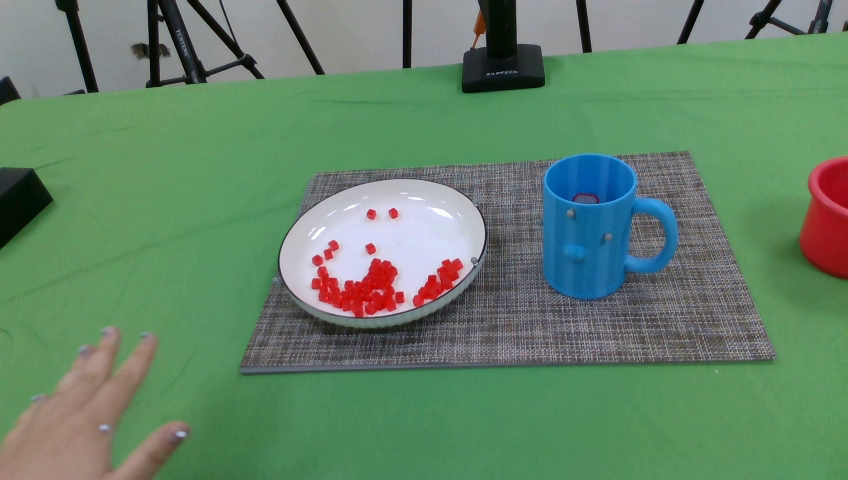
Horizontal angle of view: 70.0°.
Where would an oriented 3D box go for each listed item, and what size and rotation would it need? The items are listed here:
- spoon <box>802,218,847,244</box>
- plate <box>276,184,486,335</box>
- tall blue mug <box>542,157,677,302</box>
[{"bbox_3d":[0.411,-0.029,0.495,0.041,0.193,0.021,-36,92,-34],"label":"spoon"},{"bbox_3d":[-0.040,0.018,0.603,0.207,0.039,0.205,-5,40,5],"label":"plate"},{"bbox_3d":[0.160,-0.010,0.541,0.107,0.109,0.077,-7,39,3],"label":"tall blue mug"}]
